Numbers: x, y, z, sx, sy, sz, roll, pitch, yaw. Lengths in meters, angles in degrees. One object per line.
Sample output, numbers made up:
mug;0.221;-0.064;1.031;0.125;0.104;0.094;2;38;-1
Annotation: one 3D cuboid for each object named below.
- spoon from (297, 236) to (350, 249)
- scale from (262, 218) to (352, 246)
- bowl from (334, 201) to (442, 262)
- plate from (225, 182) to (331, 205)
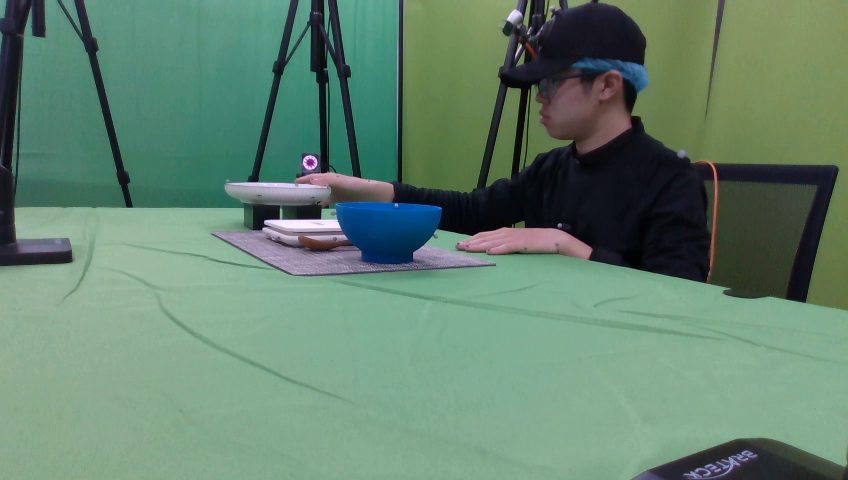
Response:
spoon;-0.103;0.002;0.943;0.195;0.021;0.041;-2;-6;-30
scale;-0.160;-0.016;1.028;0.202;0.031;0.148;-2;9;-32
bowl;-0.051;-0.012;0.848;0.151;0.077;0.151;2;7;0
plate;-0.294;-0.096;1.229;0.209;0.038;0.209;3;7;0
